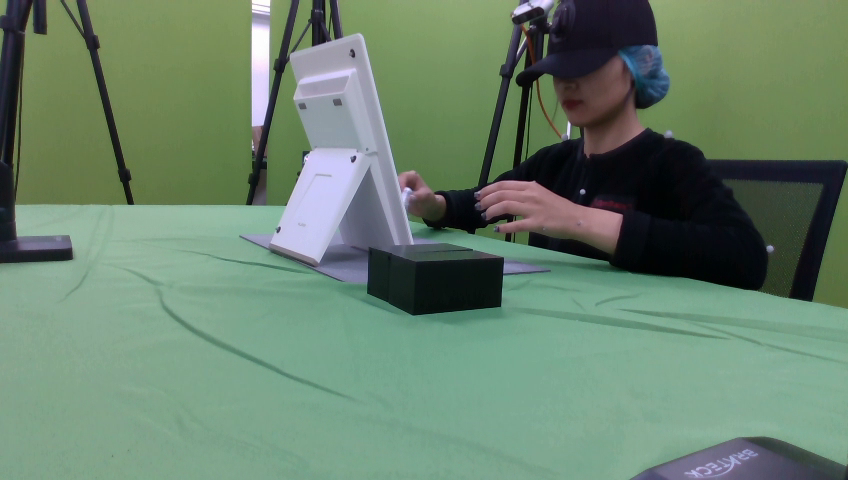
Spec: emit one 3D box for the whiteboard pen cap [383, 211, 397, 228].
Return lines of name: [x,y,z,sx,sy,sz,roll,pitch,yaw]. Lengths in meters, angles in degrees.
whiteboard pen cap: [-0.055,-0.034,1.003,0.018,0.018,0.033,3,27,9]

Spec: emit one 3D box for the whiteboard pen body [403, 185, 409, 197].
whiteboard pen body: [-0.047,-0.062,1.054,0.017,0.017,0.141,3,30,9]

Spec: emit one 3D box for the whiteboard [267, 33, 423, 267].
whiteboard: [-0.153,-0.098,0.819,0.144,0.305,0.216,-25,21,-29]
